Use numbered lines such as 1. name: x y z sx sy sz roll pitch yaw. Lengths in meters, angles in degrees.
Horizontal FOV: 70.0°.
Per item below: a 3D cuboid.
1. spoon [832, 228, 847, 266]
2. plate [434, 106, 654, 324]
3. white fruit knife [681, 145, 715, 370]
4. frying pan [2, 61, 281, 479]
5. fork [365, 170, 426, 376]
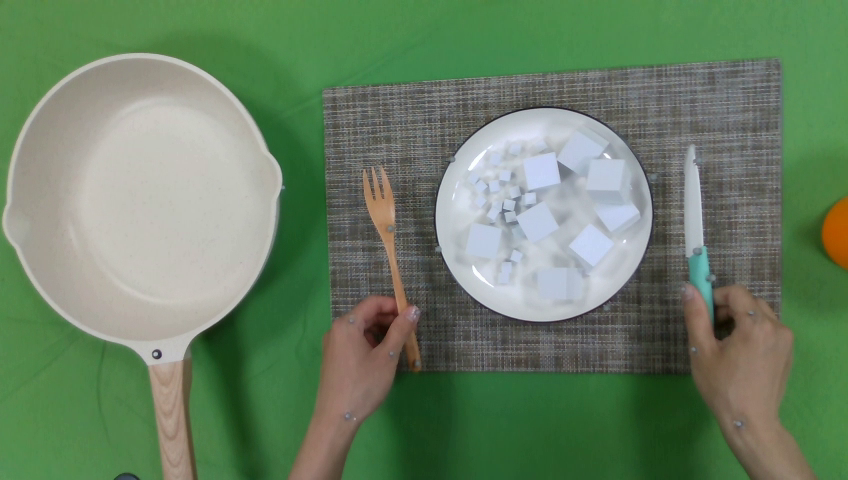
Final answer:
1. spoon: 0.438 -0.021 0.496 0.021 0.194 0.041 -35 89 -36
2. plate: 0.114 -0.023 0.594 0.207 0.039 0.207 0 93 8
3. white fruit knife: 0.248 0.017 0.553 0.016 0.027 0.207 -3 88 -21
4. frying pan: -0.269 0.068 0.623 0.306 0.103 0.486 -9 83 9
5. fork: -0.025 0.033 0.596 0.028 0.019 0.207 -13 88 25
